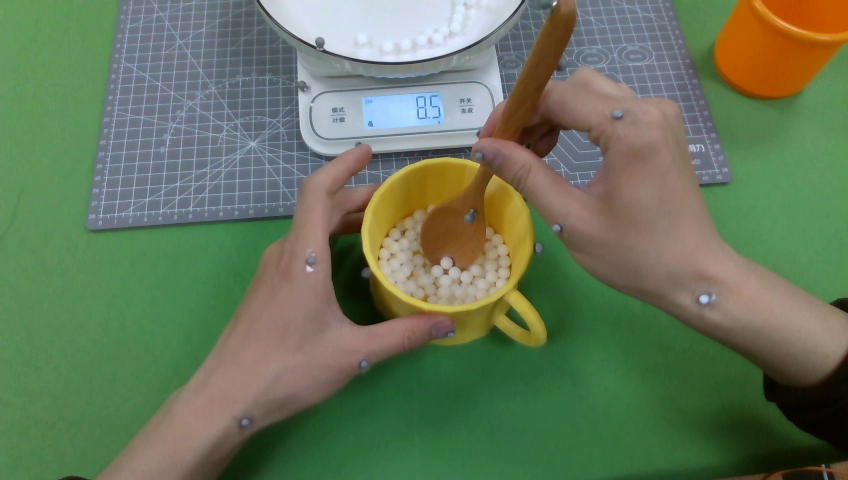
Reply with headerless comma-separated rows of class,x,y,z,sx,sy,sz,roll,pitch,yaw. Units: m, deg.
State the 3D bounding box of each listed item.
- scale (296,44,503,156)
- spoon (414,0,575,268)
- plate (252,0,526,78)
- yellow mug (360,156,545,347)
scale,-0.023,-0.159,0.462,0.149,0.032,0.199,-5,66,-3
spoon,0.033,-0.040,0.316,0.041,0.194,0.021,30,56,2
plate,-0.025,-0.199,0.445,0.209,0.038,0.207,1,66,-2
yellow mug,0.024,0.017,0.371,0.130,0.064,0.100,43,73,15
